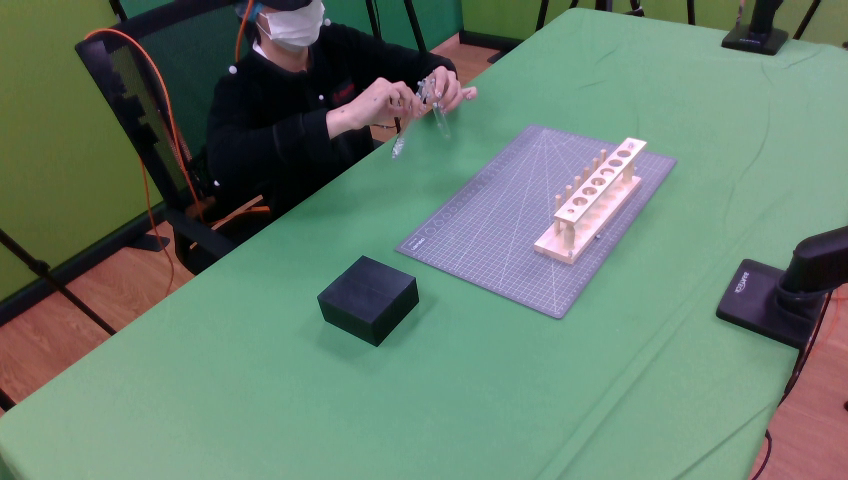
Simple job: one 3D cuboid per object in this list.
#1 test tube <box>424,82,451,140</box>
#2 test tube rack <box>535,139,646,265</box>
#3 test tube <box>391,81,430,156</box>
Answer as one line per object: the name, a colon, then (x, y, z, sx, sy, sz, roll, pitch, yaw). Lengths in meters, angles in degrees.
test tube: (0.026, -0.226, 1.074, 0.017, 0.151, 0.017, -7, 61, 13)
test tube rack: (0.269, -0.071, 0.964, 0.066, 0.085, 0.243, 23, 49, 32)
test tube: (-0.021, -0.197, 0.977, 0.017, 0.017, 0.150, 12, 66, 22)
